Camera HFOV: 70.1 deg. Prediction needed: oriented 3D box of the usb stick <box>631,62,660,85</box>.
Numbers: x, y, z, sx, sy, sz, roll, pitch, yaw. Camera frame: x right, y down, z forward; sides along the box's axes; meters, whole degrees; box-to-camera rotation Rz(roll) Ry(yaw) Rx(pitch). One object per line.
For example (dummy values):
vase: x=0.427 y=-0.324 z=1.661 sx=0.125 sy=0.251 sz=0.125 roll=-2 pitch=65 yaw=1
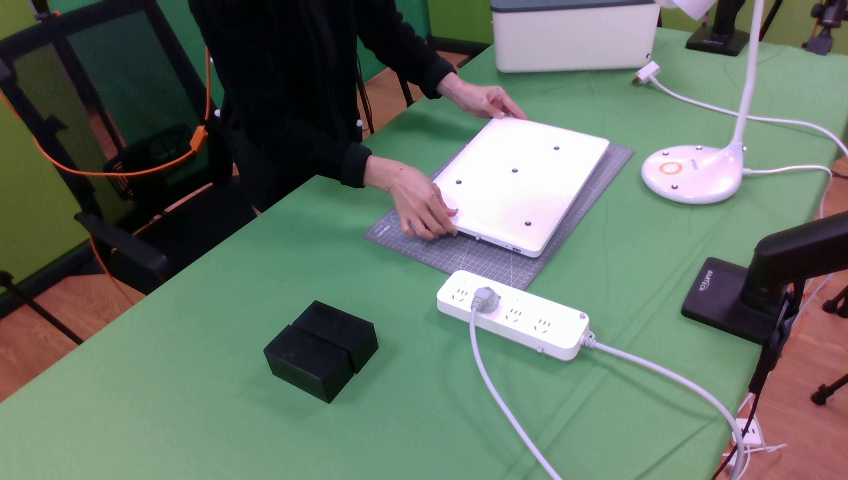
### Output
usb stick: x=0.480 y=-0.358 z=1.317 sx=0.059 sy=0.022 sz=0.027 roll=-35 pitch=56 yaw=14

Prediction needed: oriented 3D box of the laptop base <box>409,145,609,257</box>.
laptop base: x=0.161 y=-0.109 z=1.066 sx=0.234 sy=0.023 sz=0.355 roll=18 pitch=45 yaw=25

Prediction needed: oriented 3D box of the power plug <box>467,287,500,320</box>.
power plug: x=0.073 y=0.092 z=0.814 sx=0.035 sy=0.053 sz=0.073 roll=29 pitch=54 yaw=34

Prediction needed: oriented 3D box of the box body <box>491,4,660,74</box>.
box body: x=0.346 y=-0.520 z=1.429 sx=0.363 sy=0.161 sz=0.253 roll=0 pitch=41 yaw=9

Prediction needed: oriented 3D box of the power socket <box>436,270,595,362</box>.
power socket: x=0.118 y=0.101 z=0.832 sx=0.225 sy=0.033 sz=0.072 roll=19 pitch=48 yaw=27

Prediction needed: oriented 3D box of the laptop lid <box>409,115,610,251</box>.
laptop lid: x=0.159 y=-0.118 z=1.060 sx=0.240 sy=0.013 sz=0.357 roll=20 pitch=46 yaw=25

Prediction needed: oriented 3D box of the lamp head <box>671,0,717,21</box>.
lamp head: x=0.375 y=-0.373 z=0.807 sx=0.122 sy=0.113 sz=0.112 roll=-40 pitch=27 yaw=32

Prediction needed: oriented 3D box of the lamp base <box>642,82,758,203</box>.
lamp base: x=0.464 y=-0.174 z=0.992 sx=0.179 sy=0.181 sz=0.159 roll=-5 pitch=41 yaw=-2

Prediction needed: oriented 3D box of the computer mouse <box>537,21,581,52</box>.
computer mouse: x=0.335 y=-0.503 z=1.487 sx=0.118 sy=0.041 sz=0.062 roll=22 pitch=19 yaw=-28

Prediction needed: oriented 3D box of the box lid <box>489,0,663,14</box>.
box lid: x=0.340 y=-0.575 z=1.380 sx=0.371 sy=0.015 sz=0.262 roll=0 pitch=41 yaw=9
